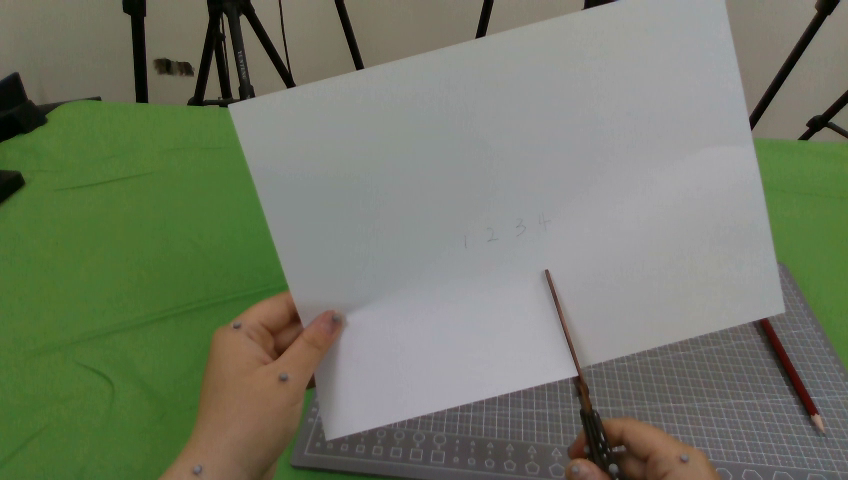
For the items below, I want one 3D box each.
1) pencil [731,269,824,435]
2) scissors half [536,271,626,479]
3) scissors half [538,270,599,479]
[{"bbox_3d":[0.313,0.091,0.542,0.012,0.012,0.192,2,38,2],"label":"pencil"},{"bbox_3d":[0.095,0.098,0.352,0.013,0.040,0.174,-18,69,1],"label":"scissors half"},{"bbox_3d":[0.096,0.103,0.372,0.013,0.175,0.040,-16,-2,-4],"label":"scissors half"}]
